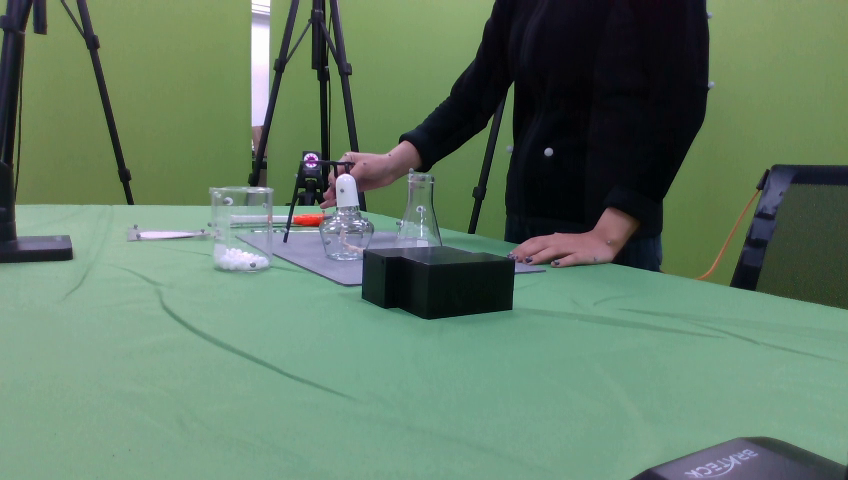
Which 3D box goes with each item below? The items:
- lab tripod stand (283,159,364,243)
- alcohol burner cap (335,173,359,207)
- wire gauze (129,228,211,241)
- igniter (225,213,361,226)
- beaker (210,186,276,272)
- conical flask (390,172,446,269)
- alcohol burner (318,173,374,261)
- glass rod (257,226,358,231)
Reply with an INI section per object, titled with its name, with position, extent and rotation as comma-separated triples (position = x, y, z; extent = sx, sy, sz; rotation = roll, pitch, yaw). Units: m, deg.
[lab tripod stand]
position = -0.152, -0.064, 0.983
extent = 0.148, 0.131, 0.148
rotation = 3, 6, 0
[alcohol burner cap]
position = -0.108, -0.068, 0.829
extent = 0.034, 0.048, 0.034
rotation = -7, 4, 1
[wire gauze]
position = -0.419, -0.010, 0.999
extent = 0.122, 0.011, 0.124
rotation = 0, 6, -25
[igniter]
position = -0.257, -0.042, 1.221
extent = 0.278, 0.025, 0.057
rotation = -2, -2, -32
[beaker]
position = -0.224, -0.014, 0.738
extent = 0.084, 0.100, 0.074
rotation = 4, 7, 16
[conical flask]
position = -0.006, -0.027, 0.790
extent = 0.075, 0.122, 0.075
rotation = 2, 7, 0
[alcohol burner]
position = -0.107, -0.032, 0.833
extent = 0.078, 0.119, 0.078
rotation = 1, 6, 0
[glass rod]
position = -0.216, -0.022, 1.151
extent = 0.201, 0.008, 0.008
rotation = -2, 8, -28
